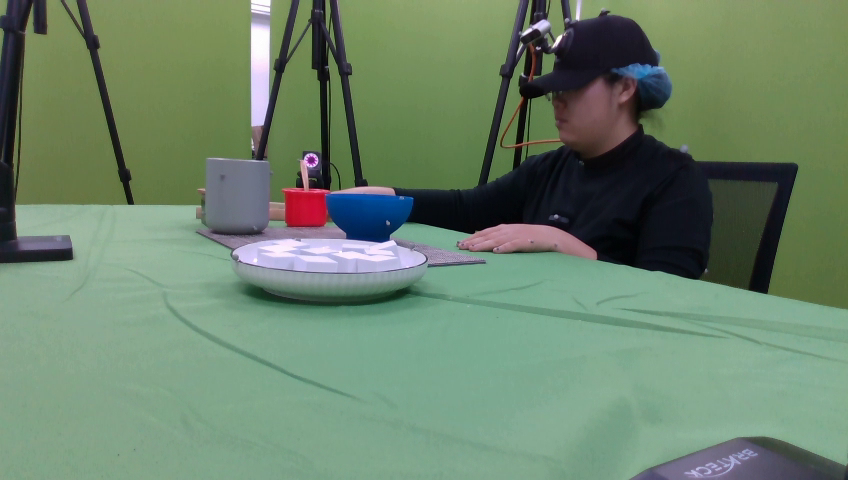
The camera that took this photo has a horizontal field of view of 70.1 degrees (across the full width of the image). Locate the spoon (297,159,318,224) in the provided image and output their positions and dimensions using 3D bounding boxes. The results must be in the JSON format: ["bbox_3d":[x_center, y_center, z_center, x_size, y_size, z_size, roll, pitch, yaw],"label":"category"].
[{"bbox_3d":[-0.244,-0.103,1.251,0.042,0.021,0.193,1,51,-17],"label":"spoon"}]

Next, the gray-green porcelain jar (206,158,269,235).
[{"bbox_3d":[-0.322,-0.076,1.048,0.106,0.126,0.106,3,7,0],"label":"gray-green porcelain jar"}]

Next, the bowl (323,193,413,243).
[{"bbox_3d":[-0.094,-0.037,1.015,0.151,0.077,0.151,2,7,0],"label":"bowl"}]

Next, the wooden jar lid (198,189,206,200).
[{"bbox_3d":[-0.382,-0.088,1.175,0.108,0.020,0.108,3,8,0],"label":"wooden jar lid"}]

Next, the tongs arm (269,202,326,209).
[{"bbox_3d":[-0.308,-0.073,1.410,0.385,0.026,0.050,3,7,-6],"label":"tongs arm"}]

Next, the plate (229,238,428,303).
[{"bbox_3d":[-0.099,0.032,0.651,0.209,0.038,0.209,3,8,0],"label":"plate"}]

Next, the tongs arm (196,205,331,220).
[{"bbox_3d":[-0.295,-0.059,1.334,0.389,0.028,0.028,1,4,-18],"label":"tongs arm"}]
